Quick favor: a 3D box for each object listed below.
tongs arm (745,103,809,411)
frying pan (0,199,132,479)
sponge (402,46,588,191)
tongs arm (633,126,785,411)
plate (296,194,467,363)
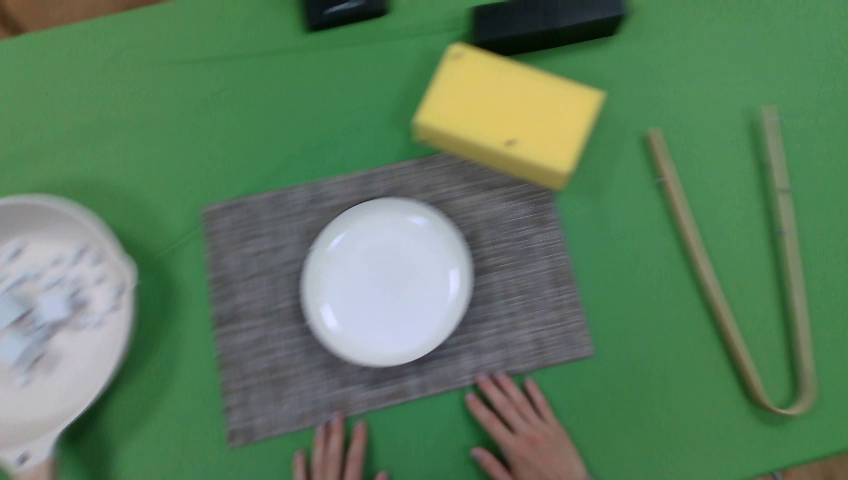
[{"bbox_3d":[0.426,0.013,0.756,0.051,0.026,0.383,-7,78,0],"label":"tongs arm"},{"bbox_3d":[-0.450,0.188,0.685,0.307,0.103,0.484,-21,69,-4],"label":"frying pan"},{"bbox_3d":[0.090,-0.157,0.781,0.206,0.061,0.118,19,76,6],"label":"sponge"},{"bbox_3d":[0.346,0.030,0.757,0.028,0.028,0.385,-19,78,-6],"label":"tongs arm"},{"bbox_3d":[-0.051,0.047,0.745,0.208,0.039,0.206,0,77,1],"label":"plate"}]
